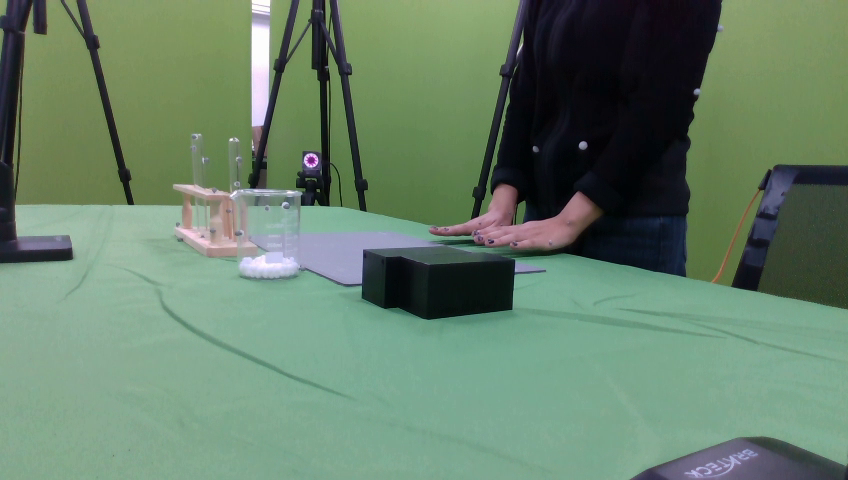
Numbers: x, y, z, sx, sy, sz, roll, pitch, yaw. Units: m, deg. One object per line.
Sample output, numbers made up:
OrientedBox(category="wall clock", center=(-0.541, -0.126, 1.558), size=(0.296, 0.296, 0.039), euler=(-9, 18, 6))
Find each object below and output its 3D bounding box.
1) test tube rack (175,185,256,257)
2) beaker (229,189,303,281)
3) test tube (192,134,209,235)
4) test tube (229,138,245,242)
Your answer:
OrientedBox(category="test tube rack", center=(-0.324, -0.035, 0.922), size=(0.067, 0.085, 0.241), euler=(-2, 9, -31))
OrientedBox(category="beaker", center=(-0.181, -0.007, 0.695), size=(0.084, 0.100, 0.073), euler=(-4, 9, -36))
OrientedBox(category="test tube", center=(-0.332, -0.082, 0.898), size=(0.017, 0.150, 0.017), euler=(-2, 6, 0))
OrientedBox(category="test tube", center=(-0.269, -0.071, 0.867), size=(0.017, 0.150, 0.017), euler=(0, 9, 0))
